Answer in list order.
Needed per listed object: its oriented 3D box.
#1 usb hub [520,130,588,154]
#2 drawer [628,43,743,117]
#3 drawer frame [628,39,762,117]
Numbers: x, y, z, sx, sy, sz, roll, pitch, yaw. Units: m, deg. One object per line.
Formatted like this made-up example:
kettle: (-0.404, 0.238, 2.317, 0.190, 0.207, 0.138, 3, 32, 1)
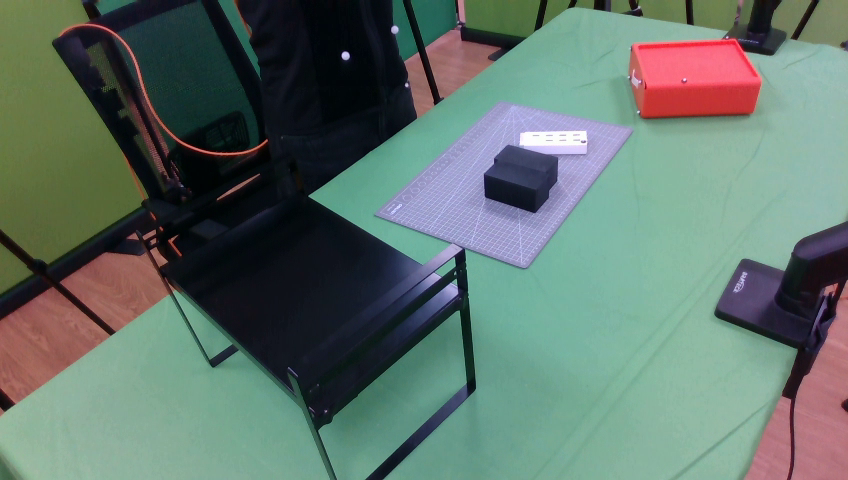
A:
usb hub: (0.246, -0.185, 1.148, 0.125, 0.025, 0.049, 1, 42, 10)
drawer: (0.536, -0.331, 1.237, 0.211, 0.073, 0.194, 0, 40, 9)
drawer frame: (0.539, -0.332, 1.235, 0.213, 0.083, 0.201, 0, 41, 7)
